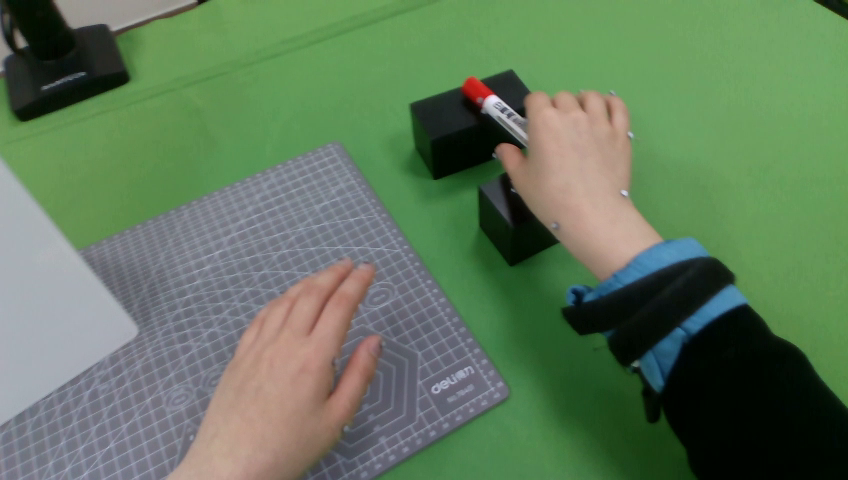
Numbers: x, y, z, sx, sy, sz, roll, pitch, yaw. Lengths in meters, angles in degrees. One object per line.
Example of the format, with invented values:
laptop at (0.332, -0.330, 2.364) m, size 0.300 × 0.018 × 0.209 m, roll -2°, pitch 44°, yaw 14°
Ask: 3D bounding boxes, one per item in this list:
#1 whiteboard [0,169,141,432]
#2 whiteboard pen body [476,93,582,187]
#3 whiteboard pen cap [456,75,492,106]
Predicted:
whiteboard at (-0.377, -0.007, 0.383) m, size 0.217 × 0.308 × 0.142 m, roll -35°, pitch 38°, yaw -19°
whiteboard pen body at (0.073, -0.087, 0.478) m, size 0.017 × 0.017 × 0.139 m, roll -30°, pitch 56°, yaw -16°
whiteboard pen cap at (0.042, -0.124, 0.510) m, size 0.017 × 0.017 × 0.032 m, roll -32°, pitch 55°, yaw -17°
